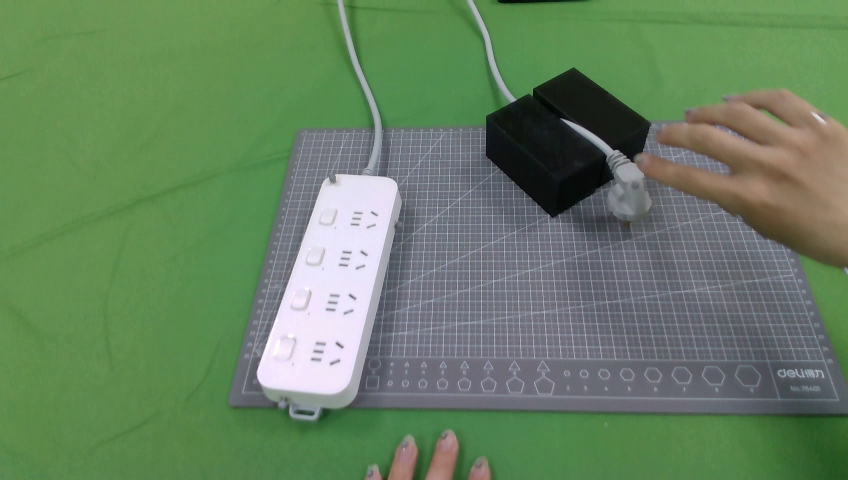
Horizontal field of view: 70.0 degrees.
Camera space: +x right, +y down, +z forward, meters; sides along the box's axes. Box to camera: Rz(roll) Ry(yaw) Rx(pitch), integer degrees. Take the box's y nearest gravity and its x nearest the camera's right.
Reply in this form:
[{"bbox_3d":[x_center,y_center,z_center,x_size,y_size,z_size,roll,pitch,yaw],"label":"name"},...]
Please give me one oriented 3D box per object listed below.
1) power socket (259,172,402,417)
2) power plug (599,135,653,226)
[{"bbox_3d":[-0.070,0.030,0.496,0.072,0.033,0.225,6,54,7],"label":"power socket"},{"bbox_3d":[0.171,-0.049,0.518,0.035,0.053,0.072,-4,55,-3],"label":"power plug"}]
